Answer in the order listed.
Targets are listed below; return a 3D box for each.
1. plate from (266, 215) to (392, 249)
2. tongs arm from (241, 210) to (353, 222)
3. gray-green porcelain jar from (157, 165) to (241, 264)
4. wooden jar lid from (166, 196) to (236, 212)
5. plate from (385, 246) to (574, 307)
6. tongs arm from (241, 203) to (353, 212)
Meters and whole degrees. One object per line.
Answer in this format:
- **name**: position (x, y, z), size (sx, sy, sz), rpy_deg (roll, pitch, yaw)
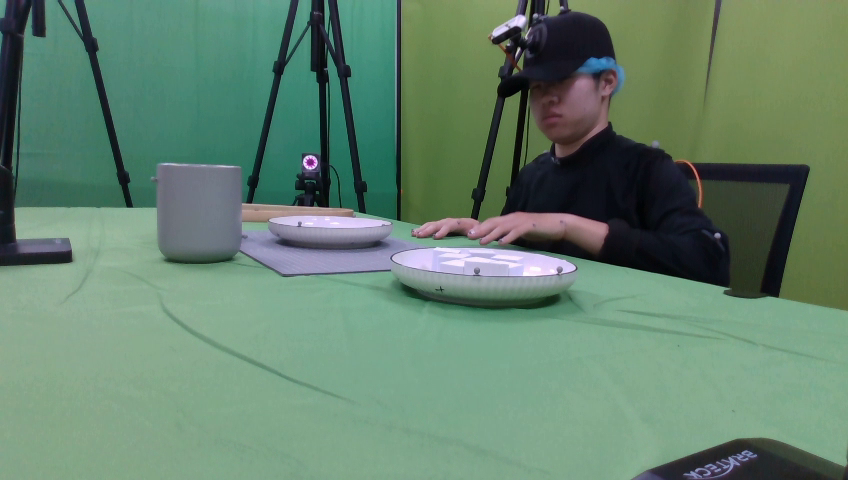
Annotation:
- **plate**: position (-0.159, -0.015, 1.019), size (0.209, 0.038, 0.209), rpy_deg (3, 7, 0)
- **tongs arm**: position (-0.337, -0.054, 1.329), size (0.389, 0.028, 0.028), rpy_deg (-1, 6, -27)
- **gray-green porcelain jar**: position (-0.300, -0.036, 0.811), size (0.106, 0.126, 0.106), rpy_deg (2, 8, 0)
- **wooden jar lid**: position (-0.369, -0.059, 1.001), size (0.108, 0.020, 0.108), rpy_deg (3, 6, 0)
- **plate**: position (0.060, 0.041, 0.678), size (0.208, 0.039, 0.207), rpy_deg (3, 7, 0)
- **tongs arm**: position (-0.361, -0.069, 1.406), size (0.386, 0.026, 0.050), rpy_deg (1, 8, -14)
